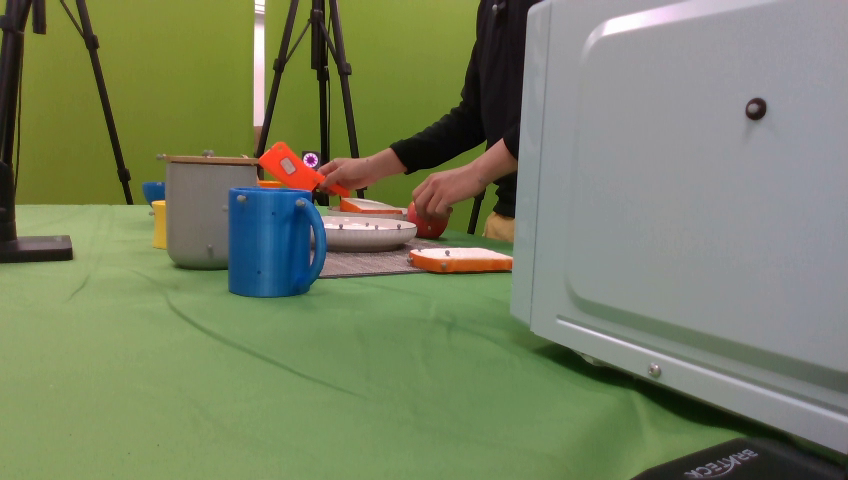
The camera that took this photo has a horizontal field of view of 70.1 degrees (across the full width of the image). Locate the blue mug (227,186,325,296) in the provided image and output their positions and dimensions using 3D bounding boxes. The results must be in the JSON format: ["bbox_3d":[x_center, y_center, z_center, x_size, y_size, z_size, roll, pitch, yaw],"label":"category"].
[{"bbox_3d":[-0.146,0.000,0.618,0.116,0.106,0.083,7,9,32],"label":"blue mug"}]

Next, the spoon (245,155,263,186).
[{"bbox_3d":[-0.421,-0.150,1.540,0.042,0.021,0.193,-5,55,-37],"label":"spoon"}]

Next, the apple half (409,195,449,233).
[{"bbox_3d":[0.009,-0.051,1.170,0.081,0.081,0.033,2,11,1],"label":"apple half"}]

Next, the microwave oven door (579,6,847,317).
[{"bbox_3d":[0.294,-0.067,0.570,0.358,0.243,0.039,-3,9,-31],"label":"microwave oven door"}]

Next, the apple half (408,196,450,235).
[{"bbox_3d":[0.009,-0.045,1.131,0.081,0.074,0.053,6,12,1],"label":"apple half"}]

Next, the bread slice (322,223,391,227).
[{"bbox_3d":[-0.116,-0.014,0.974,0.135,0.018,0.106,-6,11,-42],"label":"bread slice"}]

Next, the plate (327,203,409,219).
[{"bbox_3d":[-0.102,-0.053,1.299,0.209,0.038,0.209,2,8,0],"label":"plate"}]

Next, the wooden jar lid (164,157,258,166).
[{"bbox_3d":[-0.261,-0.093,0.746,0.108,0.020,0.108,0,9,0],"label":"wooden jar lid"}]

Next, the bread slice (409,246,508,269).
[{"bbox_3d":[0.048,0.021,0.816,0.132,0.019,0.104,0,7,-24],"label":"bread slice"}]

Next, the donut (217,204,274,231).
[{"bbox_3d":[-0.318,-0.038,1.080,0.099,0.048,0.099,3,7,0],"label":"donut"}]

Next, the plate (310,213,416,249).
[{"bbox_3d":[-0.117,-0.014,0.967,0.208,0.039,0.207,2,7,0],"label":"plate"}]

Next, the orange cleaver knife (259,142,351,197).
[{"bbox_3d":[-0.257,-0.136,1.320,0.212,0.077,0.012,32,-4,-29],"label":"orange cleaver knife"}]

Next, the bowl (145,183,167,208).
[{"bbox_3d":[-0.459,-0.068,1.175,0.151,0.077,0.151,3,7,0],"label":"bowl"}]

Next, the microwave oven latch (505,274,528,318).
[{"bbox_3d":[0.100,0.041,0.471,0.079,0.029,0.030,-1,8,-28],"label":"microwave oven latch"}]

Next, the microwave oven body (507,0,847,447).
[{"bbox_3d":[0.331,-0.042,0.425,0.444,0.260,0.324,-2,8,-31],"label":"microwave oven body"}]

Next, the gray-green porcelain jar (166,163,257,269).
[{"bbox_3d":[-0.263,-0.031,0.754,0.106,0.126,0.106,2,7,0],"label":"gray-green porcelain jar"}]

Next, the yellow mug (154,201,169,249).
[{"bbox_3d":[-0.337,-0.022,0.899,0.130,0.064,0.100,8,9,34],"label":"yellow mug"}]

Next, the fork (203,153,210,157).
[{"bbox_3d":[-0.480,-0.136,1.412,0.028,0.018,0.207,1,-34,-1],"label":"fork"}]
